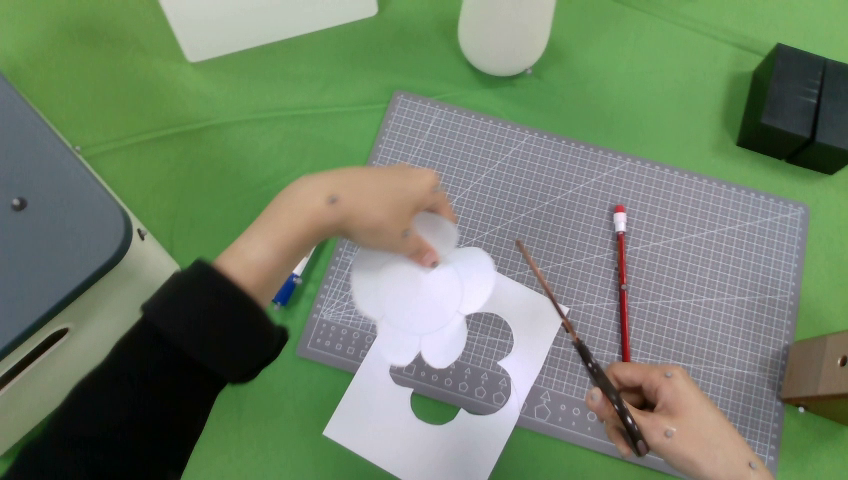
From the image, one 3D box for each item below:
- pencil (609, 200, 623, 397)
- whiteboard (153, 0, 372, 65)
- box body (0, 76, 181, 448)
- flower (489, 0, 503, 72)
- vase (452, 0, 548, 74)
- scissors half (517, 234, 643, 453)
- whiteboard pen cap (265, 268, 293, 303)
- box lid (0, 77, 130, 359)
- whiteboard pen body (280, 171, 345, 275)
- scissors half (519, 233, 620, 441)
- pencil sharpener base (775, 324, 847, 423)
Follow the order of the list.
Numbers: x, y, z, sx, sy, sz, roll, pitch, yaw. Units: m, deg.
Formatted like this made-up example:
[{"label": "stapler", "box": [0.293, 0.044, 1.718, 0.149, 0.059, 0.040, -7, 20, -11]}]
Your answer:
[{"label": "pencil", "box": [0.187, 0.053, 0.588, 0.012, 0.012, 0.193, 3, 74, 0]}, {"label": "whiteboard", "box": [-0.194, -0.366, 0.591, 0.217, 0.308, 0.142, -17, 54, -6]}, {"label": "box body", "box": [-0.426, -0.017, 0.518, 0.362, 0.161, 0.254, 43, 77, 11]}, {"label": "flower", "box": [0.076, -0.291, 0.510, 0.044, 0.365, 0.038, 10, 54, 6]}, {"label": "vase", "box": [0.078, -0.251, 0.584, 0.098, 0.201, 0.097, 0, 70, 0]}, {"label": "scissors half", "box": [0.110, 0.071, 0.438, 0.013, 0.040, 0.174, -27, 77, -1]}, {"label": "whiteboard pen cap", "box": [-0.137, 0.043, 0.578, 0.018, 0.018, 0.033, 23, 68, 7]}, {"label": "box lid", "box": [-0.426, -0.041, 0.448, 0.370, 0.015, 0.263, 43, 76, 11]}, {"label": "whiteboard pen body", "box": [-0.114, -0.008, 0.597, 0.017, 0.017, 0.140, 23, 72, 7]}, {"label": "scissors half", "box": [0.112, 0.072, 0.459, 0.013, 0.040, 0.175, -27, 94, 4]}, {"label": "pencil sharpener base", "box": [0.372, 0.117, 0.521, 0.076, 0.107, 0.061, 21, 72, 2]}]
